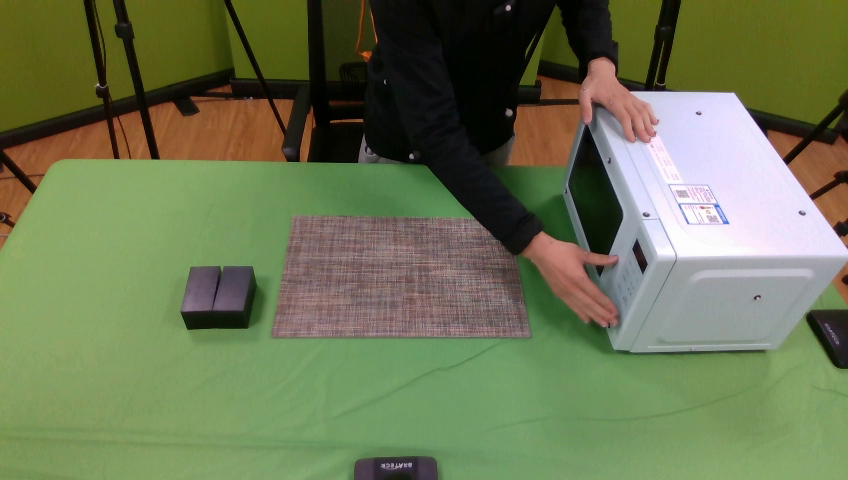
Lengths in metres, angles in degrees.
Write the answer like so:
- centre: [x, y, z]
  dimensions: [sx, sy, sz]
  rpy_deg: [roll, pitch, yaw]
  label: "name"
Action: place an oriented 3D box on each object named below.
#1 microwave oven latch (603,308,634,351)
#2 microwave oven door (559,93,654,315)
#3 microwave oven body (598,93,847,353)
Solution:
- centre: [0.333, 0.153, 1.044]
  dimensions: [0.030, 0.029, 0.078]
  rpy_deg: [0, 45, -3]
  label: "microwave oven latch"
- centre: [0.327, -0.074, 1.123]
  dimensions: [0.039, 0.245, 0.353]
  rpy_deg: [-1, 46, -5]
  label: "microwave oven door"
- centre: [0.476, -0.041, 1.109]
  dimensions: [0.326, 0.261, 0.438]
  rpy_deg: [-1, 45, -4]
  label: "microwave oven body"
